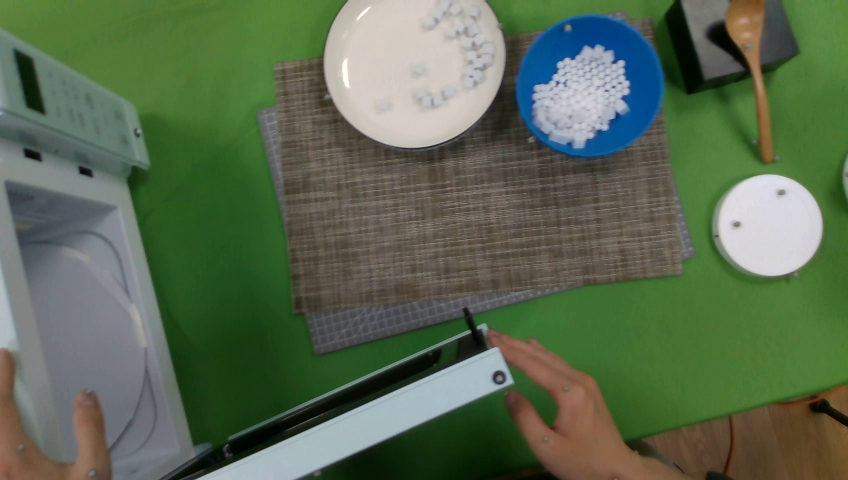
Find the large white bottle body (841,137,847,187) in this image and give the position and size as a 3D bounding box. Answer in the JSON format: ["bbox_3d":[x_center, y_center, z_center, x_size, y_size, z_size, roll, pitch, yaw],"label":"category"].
[{"bbox_3d":[0.525,-0.092,0.590,0.130,0.185,0.130,0,87,4],"label":"large white bottle body"}]

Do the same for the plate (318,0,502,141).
[{"bbox_3d":[-0.015,-0.213,0.696,0.209,0.038,0.208,0,86,4],"label":"plate"}]

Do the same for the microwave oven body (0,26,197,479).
[{"bbox_3d":[-0.444,0.075,0.598,0.326,0.260,0.441,-17,87,2],"label":"microwave oven body"}]

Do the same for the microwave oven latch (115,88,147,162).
[{"bbox_3d":[-0.347,-0.132,0.697,0.030,0.029,0.079,-17,87,2],"label":"microwave oven latch"}]

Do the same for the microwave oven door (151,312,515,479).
[{"bbox_3d":[-0.090,0.164,0.569,0.356,0.244,0.039,-25,85,2],"label":"microwave oven door"}]

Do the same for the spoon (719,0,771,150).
[{"bbox_3d":[0.352,-0.186,0.651,0.041,0.021,0.195,-22,108,0],"label":"spoon"}]

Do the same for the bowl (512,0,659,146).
[{"bbox_3d":[0.169,-0.170,0.663,0.151,0.077,0.151,0,88,4],"label":"bowl"}]

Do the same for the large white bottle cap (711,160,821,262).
[{"bbox_3d":[0.383,-0.032,0.679,0.115,0.018,0.114,0,88,2],"label":"large white bottle cap"}]
